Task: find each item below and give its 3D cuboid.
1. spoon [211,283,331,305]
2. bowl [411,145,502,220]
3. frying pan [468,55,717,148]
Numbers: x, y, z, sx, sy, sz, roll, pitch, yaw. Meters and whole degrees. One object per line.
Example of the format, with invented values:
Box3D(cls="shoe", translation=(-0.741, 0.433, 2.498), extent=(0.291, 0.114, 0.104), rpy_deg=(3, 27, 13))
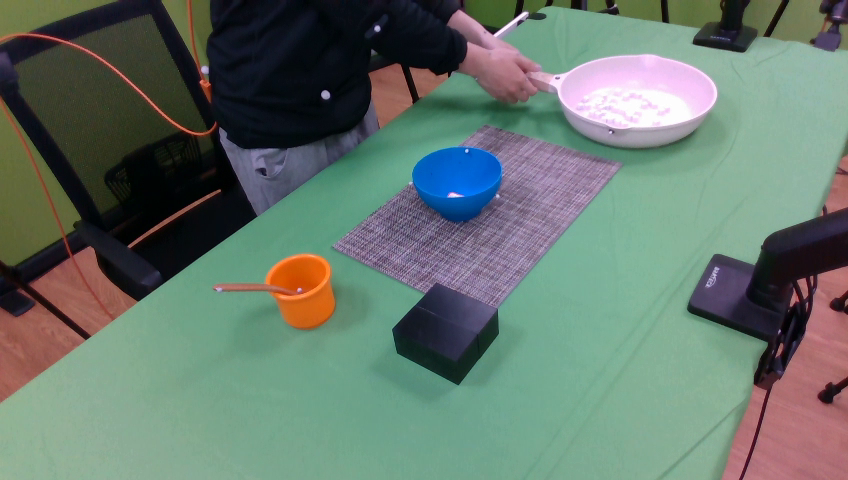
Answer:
Box3D(cls="spoon", translation=(-0.201, 0.069, 0.819), extent=(0.041, 0.195, 0.021), rpy_deg=(32, 99, 37))
Box3D(cls="bowl", translation=(0.057, -0.086, 1.010), extent=(0.151, 0.077, 0.150), rpy_deg=(-4, 41, 4))
Box3D(cls="frying pan", translation=(0.316, -0.304, 1.212), extent=(0.485, 0.103, 0.307), rpy_deg=(20, 46, 17))
